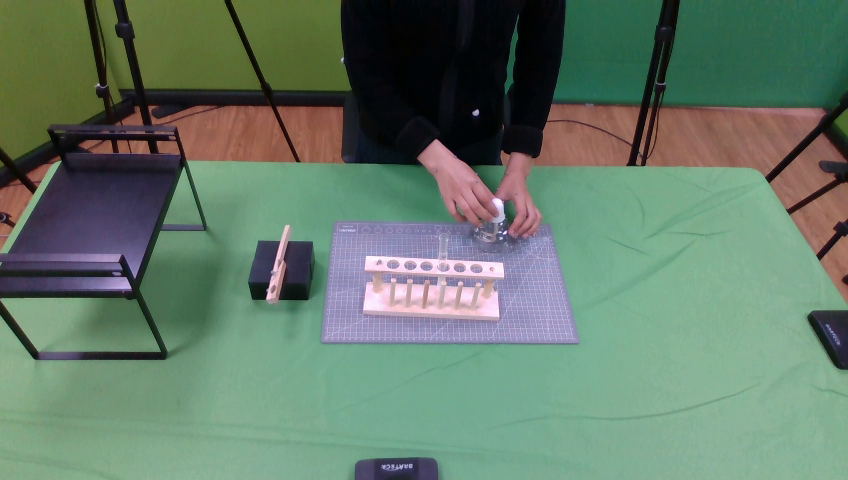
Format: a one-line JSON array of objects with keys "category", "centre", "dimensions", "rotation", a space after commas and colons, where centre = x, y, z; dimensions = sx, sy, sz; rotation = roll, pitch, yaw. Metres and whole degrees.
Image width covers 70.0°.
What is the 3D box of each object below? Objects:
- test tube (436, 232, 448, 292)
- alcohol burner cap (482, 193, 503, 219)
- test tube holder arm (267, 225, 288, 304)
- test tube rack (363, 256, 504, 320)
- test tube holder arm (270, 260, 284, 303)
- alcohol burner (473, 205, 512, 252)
[{"category": "test tube", "centre": [0.030, 0.042, 1.042], "dimensions": [0.017, 0.151, 0.017], "rotation": [1, 48, -1]}, {"category": "alcohol burner cap", "centre": [0.133, -0.067, 1.148], "dimensions": [0.034, 0.048, 0.033], "rotation": [13, 42, -12]}, {"category": "test tube holder arm", "centre": [-0.260, 0.039, 1.077], "dimensions": [0.013, 0.015, 0.177], "rotation": [-5, 46, 1]}, {"category": "test tube rack", "centre": [0.015, 0.085, 1.069], "dimensions": [0.242, 0.085, 0.066], "rotation": [3, 45, -2]}, {"category": "test tube holder arm", "centre": [-0.252, 0.071, 1.045], "dimensions": [0.010, 0.015, 0.087], "rotation": [-4, 46, 2]}, {"category": "alcohol burner", "centre": [0.135, -0.034, 1.174], "dimensions": [0.078, 0.120, 0.077], "rotation": [1, 47, -1]}]
